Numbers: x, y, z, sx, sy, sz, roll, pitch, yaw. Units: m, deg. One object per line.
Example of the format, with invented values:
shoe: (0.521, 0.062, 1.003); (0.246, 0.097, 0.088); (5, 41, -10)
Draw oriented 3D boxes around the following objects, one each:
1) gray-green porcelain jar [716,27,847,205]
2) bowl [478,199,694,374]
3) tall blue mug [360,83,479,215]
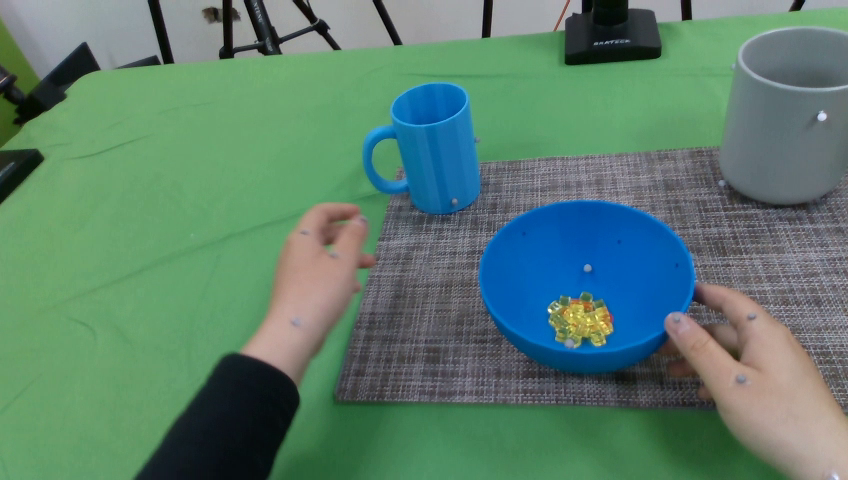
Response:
gray-green porcelain jar: (0.318, -0.102, 0.530); (0.106, 0.128, 0.105); (-7, 44, 7)
bowl: (0.119, 0.047, 0.459); (0.151, 0.077, 0.150); (-7, 43, 7)
tall blue mug: (0.000, -0.082, 0.600); (0.107, 0.109, 0.077); (-33, 47, -20)
